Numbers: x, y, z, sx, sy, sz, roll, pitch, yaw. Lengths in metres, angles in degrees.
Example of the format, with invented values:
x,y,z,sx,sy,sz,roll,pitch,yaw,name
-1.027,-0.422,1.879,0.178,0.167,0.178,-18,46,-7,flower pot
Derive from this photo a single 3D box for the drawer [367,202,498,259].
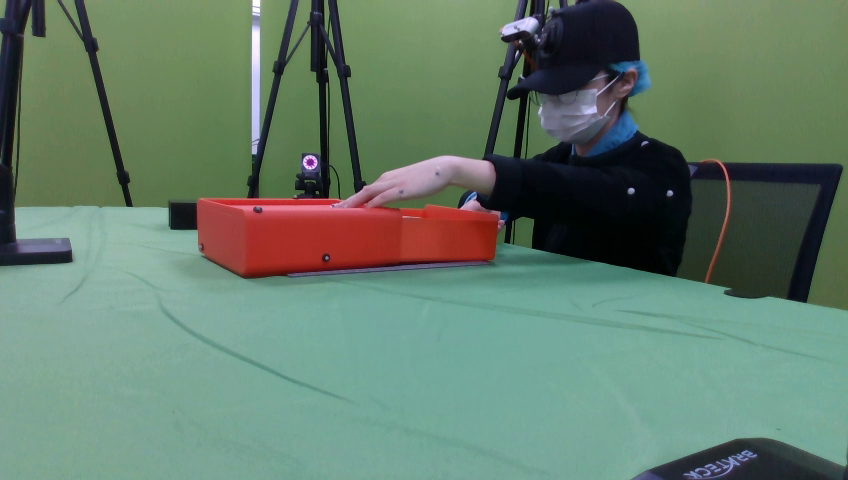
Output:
x,y,z,sx,sy,sz,roll,pitch,yaw,name
-0.029,-0.019,0.917,0.213,0.073,0.193,-1,9,-34,drawer

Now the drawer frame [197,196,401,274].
x,y,z,sx,sy,sz,roll,pitch,yaw,name
-0.171,-0.015,0.819,0.215,0.082,0.200,-4,10,-35,drawer frame

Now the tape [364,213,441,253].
x,y,z,sx,sy,sz,roll,pitch,yaw,name
-0.032,-0.012,0.913,0.117,0.052,0.117,3,5,0,tape
